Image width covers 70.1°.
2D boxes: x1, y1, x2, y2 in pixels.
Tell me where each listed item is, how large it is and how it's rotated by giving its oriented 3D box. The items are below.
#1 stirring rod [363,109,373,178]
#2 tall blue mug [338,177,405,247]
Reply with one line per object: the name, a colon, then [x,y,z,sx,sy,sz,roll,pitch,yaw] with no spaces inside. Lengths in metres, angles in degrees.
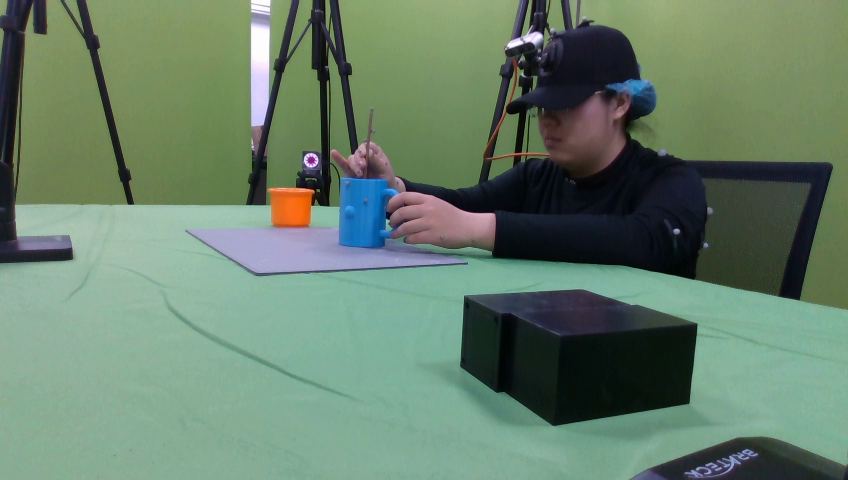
stirring rod: [-0.092,-0.123,0.967,0.006,0.176,0.014,6,-4,-13]
tall blue mug: [-0.083,-0.046,0.977,0.107,0.108,0.078,2,6,-1]
